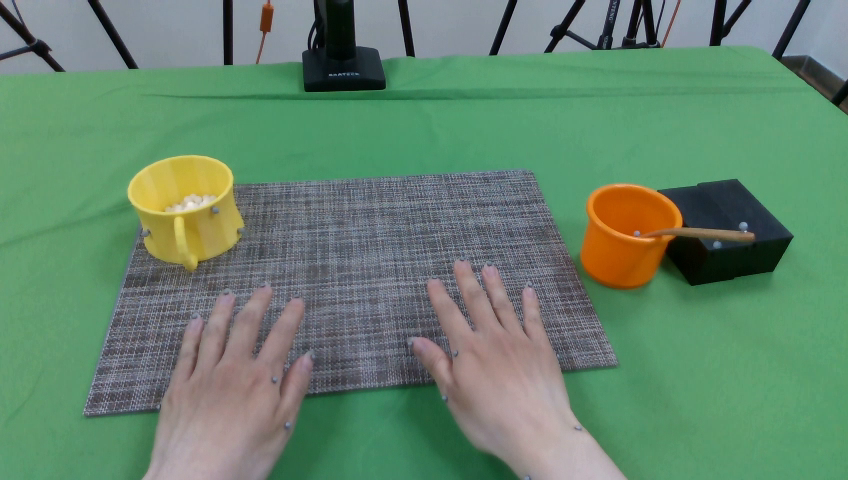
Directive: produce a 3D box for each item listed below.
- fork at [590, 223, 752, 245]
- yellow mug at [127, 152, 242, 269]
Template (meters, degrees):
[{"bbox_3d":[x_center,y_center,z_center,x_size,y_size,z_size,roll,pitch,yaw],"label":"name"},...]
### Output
[{"bbox_3d":[0.219,-0.005,0.563,0.028,0.018,0.206,-4,-2,-17],"label":"fork"},{"bbox_3d":[-0.240,-0.026,0.614,0.100,0.064,0.129,-8,44,-12],"label":"yellow mug"}]
